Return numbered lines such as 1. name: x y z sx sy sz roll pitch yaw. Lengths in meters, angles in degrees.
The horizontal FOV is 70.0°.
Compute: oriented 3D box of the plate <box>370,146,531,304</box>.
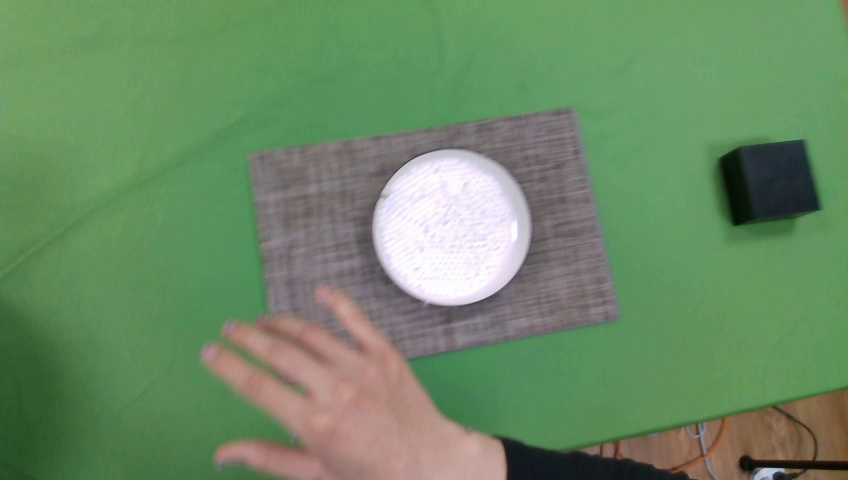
1. plate: 0.034 -0.019 0.791 0.209 0.038 0.208 1 79 -5
